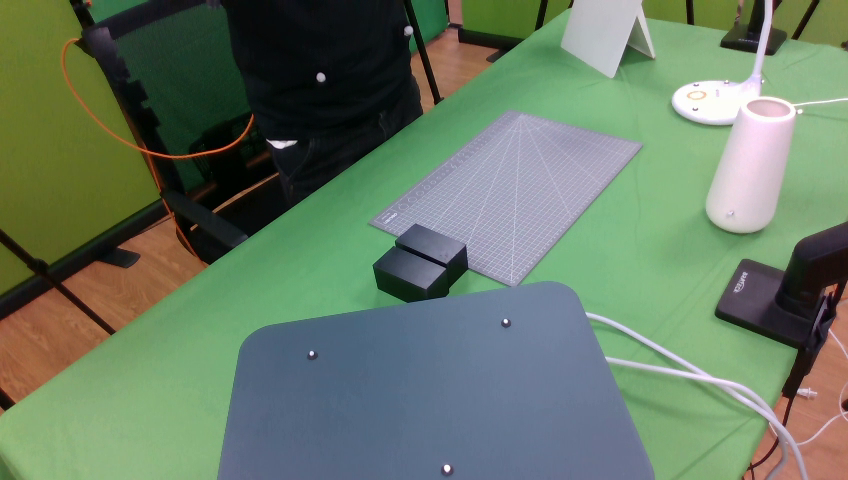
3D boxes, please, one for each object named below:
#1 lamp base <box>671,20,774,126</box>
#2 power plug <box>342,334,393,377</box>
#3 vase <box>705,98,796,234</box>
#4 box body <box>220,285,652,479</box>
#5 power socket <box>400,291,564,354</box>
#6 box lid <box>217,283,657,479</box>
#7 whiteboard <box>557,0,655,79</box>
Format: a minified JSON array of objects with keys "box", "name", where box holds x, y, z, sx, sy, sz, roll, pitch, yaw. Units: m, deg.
[{"box":[0.581,-0.332,1.154,0.179,0.181,0.160,2,41,7],"name":"lamp base"},{"box":[-0.075,0.156,0.807,0.073,0.035,0.052,30,40,-14],"name":"power plug"},{"box":[0.480,-0.104,0.889,0.098,0.201,0.097,-4,42,4],"name":"vase"},{"box":[0.005,0.211,0.616,0.364,0.161,0.252,-9,40,-2],"name":"box body"},{"box":[0.079,0.111,0.823,0.227,0.033,0.072,-5,41,1],"name":"power socket"},{"box":[-0.004,0.155,0.568,0.372,0.015,0.261,-8,39,-2],"name":"box lid"},{"box":[0.462,-0.542,1.367,0.145,0.306,0.215,-3,36,-25],"name":"whiteboard"}]
